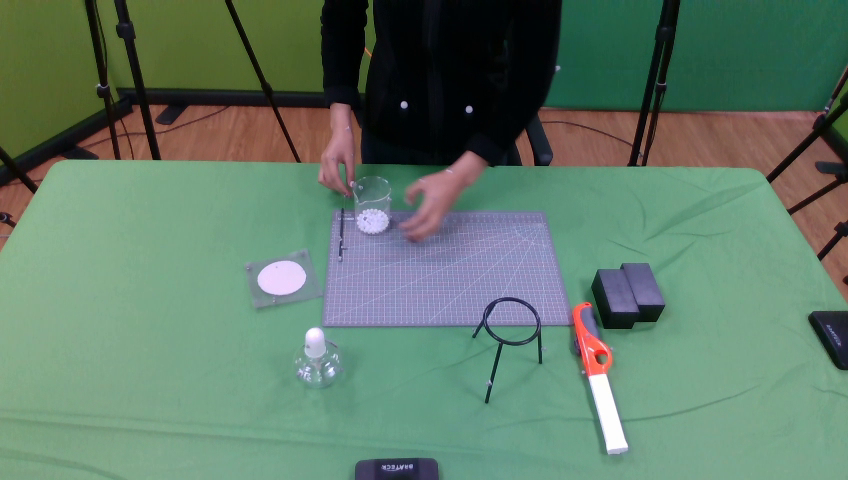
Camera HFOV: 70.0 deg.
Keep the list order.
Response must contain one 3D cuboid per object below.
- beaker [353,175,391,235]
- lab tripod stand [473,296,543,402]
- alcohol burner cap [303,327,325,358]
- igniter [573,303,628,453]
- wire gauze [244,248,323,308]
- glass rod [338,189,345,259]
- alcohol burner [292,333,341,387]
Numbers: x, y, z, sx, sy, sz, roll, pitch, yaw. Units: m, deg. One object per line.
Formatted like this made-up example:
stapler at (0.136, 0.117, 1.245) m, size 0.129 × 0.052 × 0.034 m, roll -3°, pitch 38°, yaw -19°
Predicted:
beaker at (-0.104, -0.065, 1.196) m, size 0.074 × 0.101 × 0.084 m, roll 24°, pitch 50°, yaw 18°
lab tripod stand at (0.132, 0.168, 0.969) m, size 0.148 × 0.132 × 0.147 m, roll 3°, pitch 48°, yaw -3°
alcohol burner cap at (-0.169, 0.154, 0.925) m, size 0.034 × 0.048 × 0.033 m, roll 4°, pitch 41°, yaw -3°
igniter at (0.288, 0.216, 1.006) m, size 0.057 × 0.025 × 0.274 m, roll -9°, pitch 46°, yaw 8°
wire gauze at (-0.262, 0.071, 1.121) m, size 0.125 × 0.011 × 0.120 m, roll -11°, pitch 48°, yaw -17°
glass rod at (-0.166, -0.037, 1.226) m, size 0.008 × 0.008 × 0.198 m, roll -1°, pitch 47°, yaw -4°
alcohol burner at (-0.170, 0.179, 0.950) m, size 0.078 × 0.120 × 0.077 m, roll 2°, pitch 48°, yaw -2°
